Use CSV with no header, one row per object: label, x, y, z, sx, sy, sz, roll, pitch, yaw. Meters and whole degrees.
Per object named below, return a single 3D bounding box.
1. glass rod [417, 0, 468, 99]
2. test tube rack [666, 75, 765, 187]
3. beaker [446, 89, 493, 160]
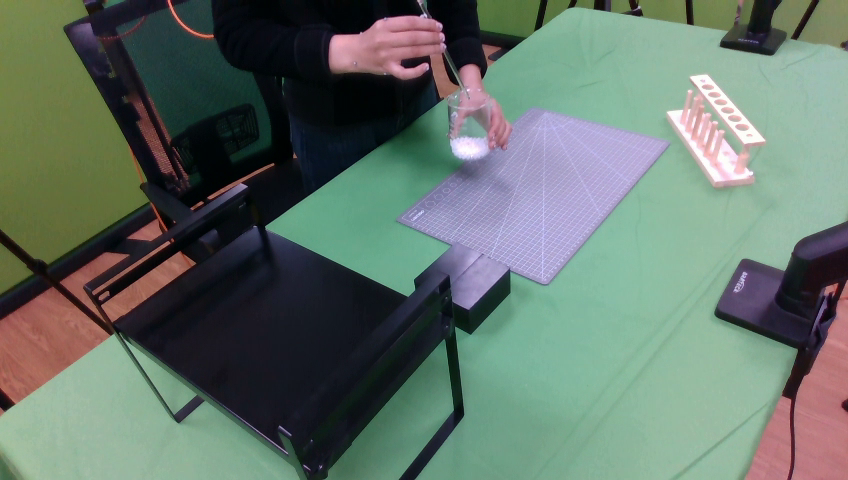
glass rod,0.025,-0.290,0.900,0.008,0.201,0.008,-19,41,18
test tube rack,0.512,-0.201,1.082,0.067,0.085,0.241,-6,41,2
beaker,0.074,-0.192,1.009,0.074,0.100,0.083,-29,43,-27
